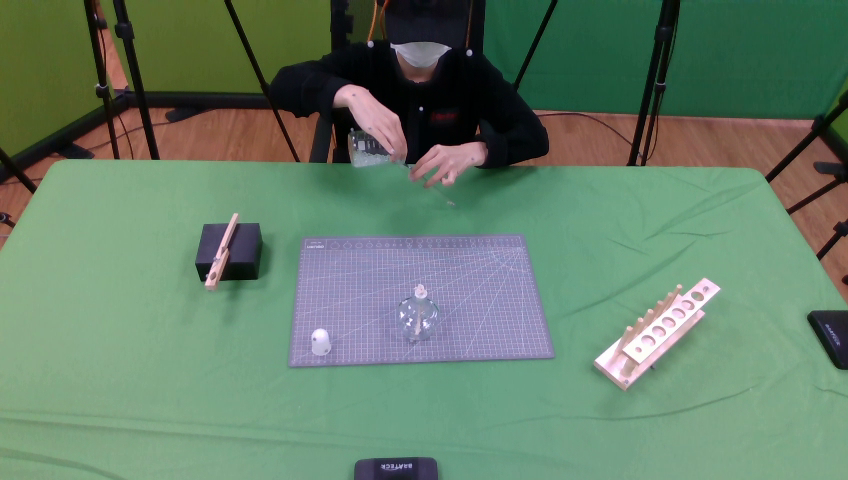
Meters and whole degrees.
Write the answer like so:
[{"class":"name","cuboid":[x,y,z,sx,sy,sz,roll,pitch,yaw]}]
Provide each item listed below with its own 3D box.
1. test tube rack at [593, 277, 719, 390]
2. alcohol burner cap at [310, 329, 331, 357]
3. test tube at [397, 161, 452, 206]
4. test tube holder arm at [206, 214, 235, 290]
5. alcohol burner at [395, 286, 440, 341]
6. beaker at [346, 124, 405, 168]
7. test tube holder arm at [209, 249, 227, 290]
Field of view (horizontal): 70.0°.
[{"class":"test tube rack","cuboid":[0.401,0.148,1.043,0.242,0.085,0.066,-30,55,-29]},{"class":"alcohol burner cap","cuboid":[-0.173,0.168,1.005,0.034,0.048,0.033,2,46,-2]},{"class":"test tube","cuboid":[0.003,-0.112,1.219,0.151,0.017,0.017,35,36,-31]},{"class":"test tube holder arm","cuboid":[-0.364,0.017,1.090,0.013,0.015,0.177,7,45,-8]},{"class":"alcohol burner","cuboid":[-0.010,0.116,1.018,0.078,0.119,0.077,3,47,-3]},{"class":"beaker","cuboid":[-0.093,-0.174,1.150,0.100,0.084,0.073,-8,34,-13]},{"class":"test tube holder arm","cuboid":[-0.359,0.050,1.059,0.010,0.015,0.087,8,45,-8]}]
